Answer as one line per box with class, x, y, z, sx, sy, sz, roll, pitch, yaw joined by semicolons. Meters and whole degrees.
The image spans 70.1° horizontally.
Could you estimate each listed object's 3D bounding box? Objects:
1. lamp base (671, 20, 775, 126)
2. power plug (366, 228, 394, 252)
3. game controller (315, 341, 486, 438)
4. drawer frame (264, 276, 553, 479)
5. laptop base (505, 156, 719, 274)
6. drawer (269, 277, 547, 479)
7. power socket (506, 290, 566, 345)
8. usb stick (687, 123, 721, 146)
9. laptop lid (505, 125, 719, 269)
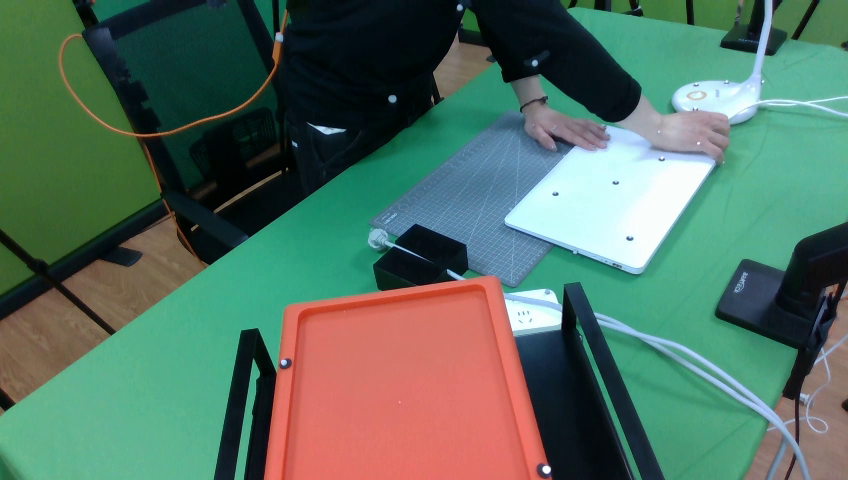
lamp base;0.581;-0.332;1.153;0.179;0.181;0.160;2;42;7
power plug;-0.067;0.010;0.954;0.035;0.053;0.072;-37;51;1
game controller;-0.021;0.120;0.534;0.155;0.052;0.096;-3;38;0
drawer frame;-0.016;0.137;0.490;0.202;0.083;0.212;-8;41;-1
laptop base;0.326;-0.083;1.028;0.233;0.023;0.355;21;48;32
drawer;-0.018;0.137;0.493;0.195;0.073;0.210;-7;41;-1
power socket;0.081;0.112;0.822;0.227;0.033;0.072;-7;41;0
usb stick;0.514;-0.191;1.116;0.059;0.027;0.021;-25;57;-3
laptop lid;0.323;-0.093;1.021;0.239;0.013;0.358;23;49;33
